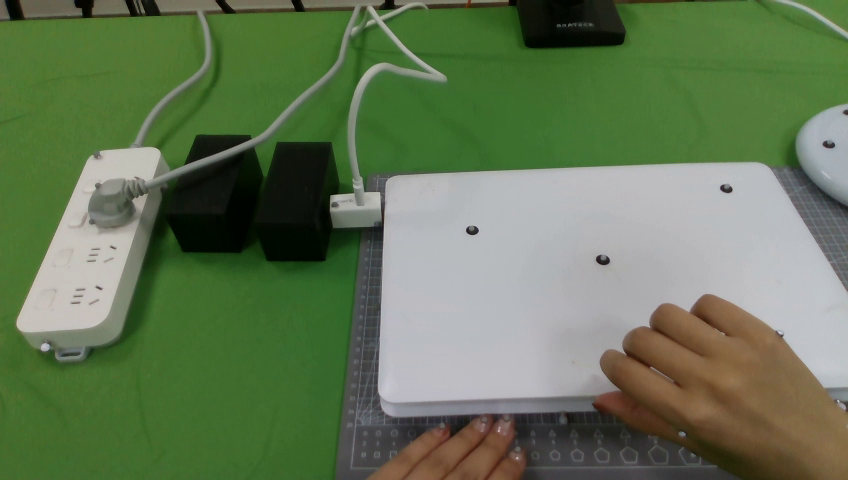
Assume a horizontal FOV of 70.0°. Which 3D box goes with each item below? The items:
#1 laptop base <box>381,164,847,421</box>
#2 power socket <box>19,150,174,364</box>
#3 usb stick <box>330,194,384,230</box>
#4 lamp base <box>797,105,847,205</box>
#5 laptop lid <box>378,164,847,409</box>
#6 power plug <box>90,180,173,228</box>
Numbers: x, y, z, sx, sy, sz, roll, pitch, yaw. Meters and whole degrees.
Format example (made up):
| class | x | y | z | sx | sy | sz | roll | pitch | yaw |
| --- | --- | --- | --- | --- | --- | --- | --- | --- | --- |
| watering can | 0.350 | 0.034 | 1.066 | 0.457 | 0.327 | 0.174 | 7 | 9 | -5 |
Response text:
| class | x | y | z | sx | sy | sz | roll | pitch | yaw |
| --- | --- | --- | --- | --- | --- | --- | --- | --- | --- |
| laptop base | 0.144 | 0.031 | 0.494 | 0.354 | 0.023 | 0.233 | -2 | 53 | 0 |
| power socket | -0.275 | 0.000 | 0.526 | 0.072 | 0.033 | 0.224 | -3 | 49 | -2 |
| usb stick | -0.052 | -0.025 | 0.532 | 0.059 | 0.027 | 0.021 | -1 | 45 | -5 |
| lamp base | 0.442 | -0.132 | 0.518 | 0.159 | 0.182 | 0.179 | 30 | 53 | 26 |
| laptop lid | 0.142 | 0.021 | 0.478 | 0.357 | 0.013 | 0.239 | -1 | 47 | 1 |
| power plug | -0.247 | -0.024 | 0.515 | 0.072 | 0.053 | 0.035 | 5 | 49 | 6 |
